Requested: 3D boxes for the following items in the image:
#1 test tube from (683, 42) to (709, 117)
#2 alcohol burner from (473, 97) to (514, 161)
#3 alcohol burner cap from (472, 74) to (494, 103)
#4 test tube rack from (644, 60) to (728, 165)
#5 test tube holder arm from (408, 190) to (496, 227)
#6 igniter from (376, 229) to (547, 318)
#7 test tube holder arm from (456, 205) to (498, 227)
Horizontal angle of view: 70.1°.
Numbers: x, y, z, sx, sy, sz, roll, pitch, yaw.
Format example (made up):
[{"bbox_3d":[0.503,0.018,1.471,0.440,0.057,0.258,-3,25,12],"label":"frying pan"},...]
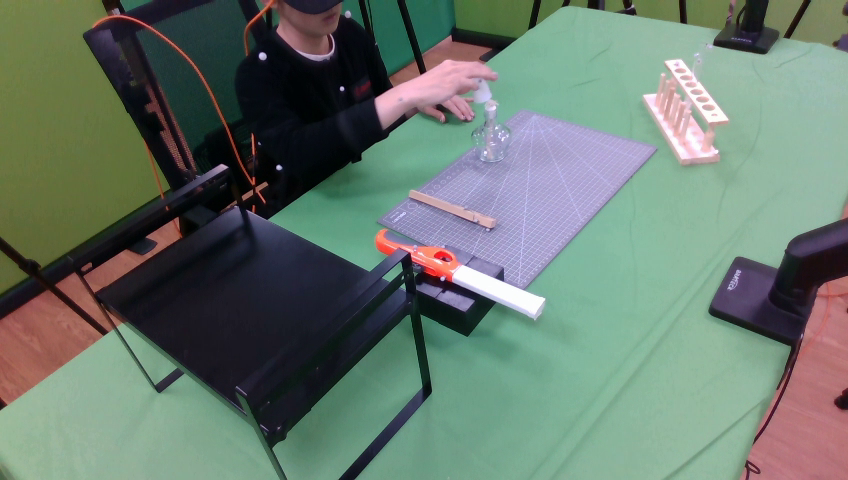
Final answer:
[{"bbox_3d":[0.499,-0.292,1.115,0.017,0.151,0.017,-3,44,3],"label":"test tube"},{"bbox_3d":[0.128,-0.208,1.123,0.078,0.119,0.077,-5,39,5],"label":"alcohol burner"},{"bbox_3d":[0.101,-0.266,1.050,0.034,0.048,0.033,-13,43,13],"label":"alcohol burner cap"},{"bbox_3d":[0.486,-0.247,1.139,0.067,0.085,0.241,-5,41,4],"label":"test tube rack"},{"bbox_3d":[0.045,-0.055,1.030,0.177,0.015,0.013,22,13,30],"label":"test tube holder arm"},{"bbox_3d":[0.040,0.041,0.845,0.274,0.025,0.057,22,46,27],"label":"igniter"},{"bbox_3d":[0.083,-0.041,1.011,0.087,0.015,0.010,22,13,32],"label":"test tube holder arm"}]
